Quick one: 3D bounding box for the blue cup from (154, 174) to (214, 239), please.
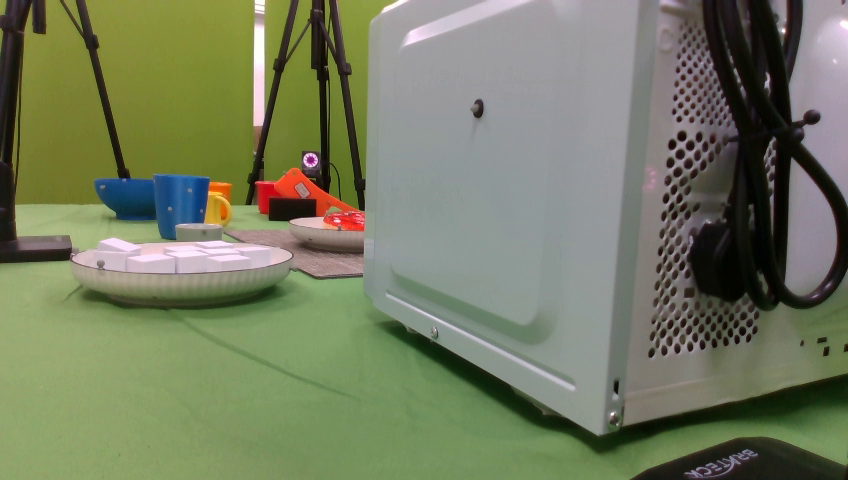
[{"bbox_3d":[-0.390,-0.053,0.978,0.093,0.100,0.092,3,6,0],"label":"blue cup"}]

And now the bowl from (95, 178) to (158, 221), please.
[{"bbox_3d":[-0.576,-0.081,1.217,0.151,0.077,0.151,3,8,0],"label":"bowl"}]

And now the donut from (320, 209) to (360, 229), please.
[{"bbox_3d":[-0.115,-0.023,0.961,0.099,0.048,0.099,5,9,0],"label":"donut"}]

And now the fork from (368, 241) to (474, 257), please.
[{"bbox_3d":[0.004,0.012,0.885,0.208,0.018,0.028,-6,-4,-45],"label":"fork"}]

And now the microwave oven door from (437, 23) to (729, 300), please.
[{"bbox_3d":[0.181,-0.072,0.621,0.358,0.243,0.039,-2,8,-29],"label":"microwave oven door"}]

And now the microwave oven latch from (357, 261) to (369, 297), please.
[{"bbox_3d":[-0.019,0.034,0.530,0.079,0.029,0.030,-1,7,-26],"label":"microwave oven latch"}]

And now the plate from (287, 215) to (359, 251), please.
[{"bbox_3d":[-0.111,-0.012,0.960,0.209,0.038,0.209,3,8,0],"label":"plate"}]

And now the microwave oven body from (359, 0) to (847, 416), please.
[{"bbox_3d":[0.211,-0.047,0.474,0.444,0.260,0.324,-1,7,-28],"label":"microwave oven body"}]

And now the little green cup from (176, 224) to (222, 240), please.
[{"bbox_3d":[-0.312,-0.001,0.842,0.061,0.038,0.061,2,8,0],"label":"little green cup"}]

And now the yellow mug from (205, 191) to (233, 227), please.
[{"bbox_3d":[-0.415,-0.057,1.132,0.130,0.064,0.100,6,8,16],"label":"yellow mug"}]

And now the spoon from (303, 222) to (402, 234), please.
[{"bbox_3d":[-0.127,-0.024,1.105,0.195,0.021,0.041,-3,-16,-31],"label":"spoon"}]

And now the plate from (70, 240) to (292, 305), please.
[{"bbox_3d":[-0.242,0.031,0.618,0.208,0.039,0.207,2,8,0],"label":"plate"}]

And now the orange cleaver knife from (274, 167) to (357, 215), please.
[{"bbox_3d":[-0.238,-0.091,1.381,0.212,0.077,0.012,31,2,-19],"label":"orange cleaver knife"}]
